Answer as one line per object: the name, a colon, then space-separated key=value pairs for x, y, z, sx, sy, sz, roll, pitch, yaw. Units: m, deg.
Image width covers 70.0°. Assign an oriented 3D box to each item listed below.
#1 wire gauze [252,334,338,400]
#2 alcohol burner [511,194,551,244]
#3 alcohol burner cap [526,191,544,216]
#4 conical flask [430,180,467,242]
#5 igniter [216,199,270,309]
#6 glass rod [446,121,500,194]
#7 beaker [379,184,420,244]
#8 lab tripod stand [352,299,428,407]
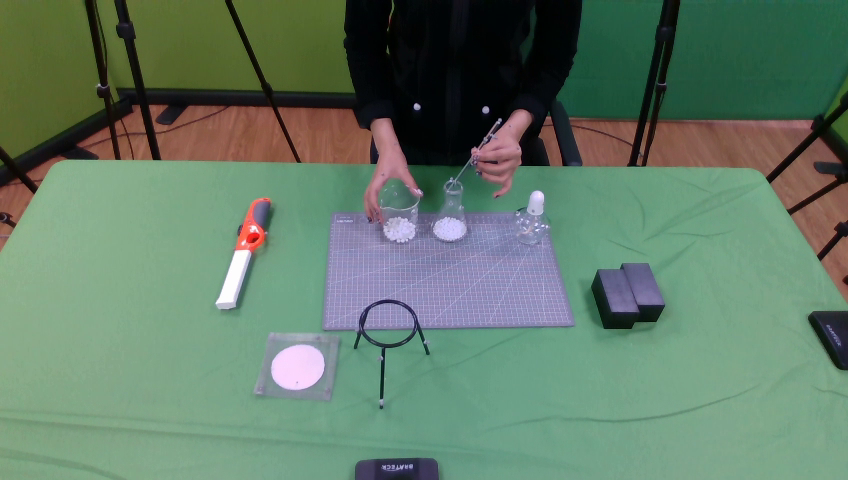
wire gauze: x=-0.209 y=0.204 z=0.996 sx=0.125 sy=0.011 sz=0.120 roll=3 pitch=45 yaw=1
alcohol burner: x=0.215 y=-0.048 z=1.196 sx=0.078 sy=0.119 sz=0.077 roll=4 pitch=46 yaw=-4
alcohol burner cap: x=0.216 y=-0.073 z=1.170 sx=0.034 sy=0.048 sz=0.033 roll=0 pitch=42 yaw=0
conical flask: x=0.051 y=-0.060 z=1.189 sx=0.075 sy=0.122 sz=0.075 roll=2 pitch=46 yaw=-2
igniter: x=-0.342 y=0.016 z=1.153 sx=0.057 sy=0.025 sz=0.275 roll=-4 pitch=45 yaw=7
glass rod: x=0.086 y=-0.144 z=1.095 sx=0.008 sy=0.200 sz=0.008 roll=15 pitch=50 yaw=-19
beaker: x=-0.050 y=-0.047 z=1.184 sx=0.084 sy=0.101 sz=0.073 roll=-27 pitch=53 yaw=-26
lab tripod stand: x=-0.056 y=0.166 z=0.958 sx=0.148 sy=0.132 sz=0.147 roll=3 pitch=44 yaw=-2
